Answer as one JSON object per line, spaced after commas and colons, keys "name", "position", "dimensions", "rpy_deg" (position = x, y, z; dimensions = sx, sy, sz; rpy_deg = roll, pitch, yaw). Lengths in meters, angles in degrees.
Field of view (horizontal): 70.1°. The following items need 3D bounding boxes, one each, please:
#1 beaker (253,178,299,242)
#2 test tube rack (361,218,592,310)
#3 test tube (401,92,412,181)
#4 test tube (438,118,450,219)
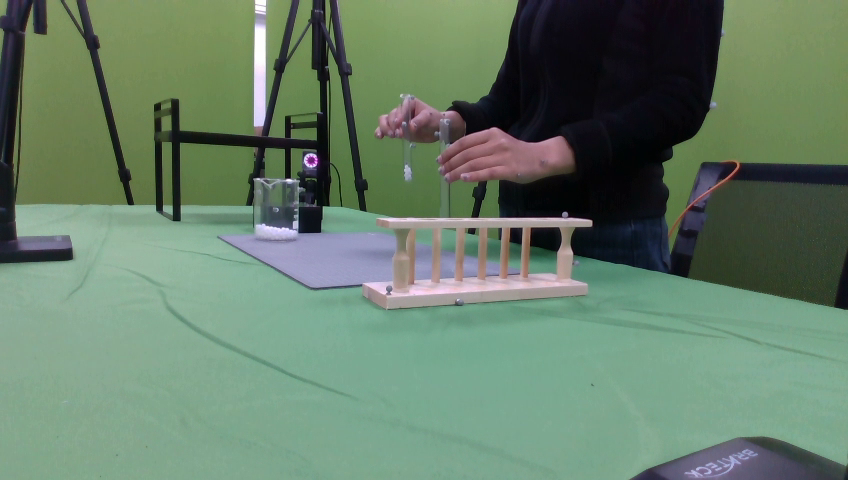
{"name": "beaker", "position": [-0.243, -0.050, 0.990], "dimensions": [0.074, 0.100, 0.084], "rpy_deg": [2, 9, 1]}
{"name": "test tube rack", "position": [0.060, 0.019, 0.640], "dimensions": [0.243, 0.085, 0.066], "rpy_deg": [-1, 8, -27]}
{"name": "test tube", "position": [-0.028, -0.163, 0.974], "dimensions": [0.017, 0.150, 0.017], "rpy_deg": [0, 32, 1]}
{"name": "test tube", "position": [0.029, -0.099, 0.863], "dimensions": [0.017, 0.150, 0.017], "rpy_deg": [0, 1, 0]}
